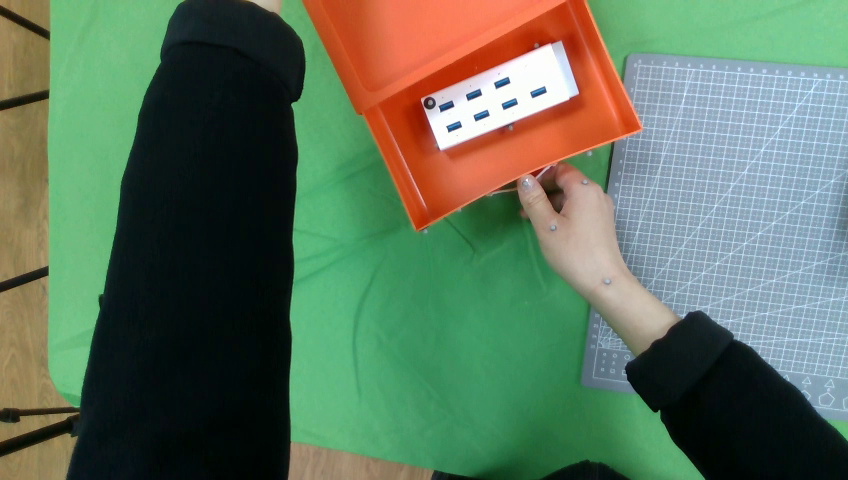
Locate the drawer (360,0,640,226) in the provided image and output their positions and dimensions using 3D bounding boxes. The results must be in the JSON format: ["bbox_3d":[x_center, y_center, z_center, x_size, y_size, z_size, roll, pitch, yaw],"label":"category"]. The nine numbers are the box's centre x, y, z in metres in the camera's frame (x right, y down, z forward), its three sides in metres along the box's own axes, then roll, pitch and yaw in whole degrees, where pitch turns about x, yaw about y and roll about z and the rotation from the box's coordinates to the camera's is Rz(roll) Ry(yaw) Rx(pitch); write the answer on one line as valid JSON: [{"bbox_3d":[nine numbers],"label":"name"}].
[{"bbox_3d":[0.039,-0.146,0.494,0.194,0.073,0.212,-24,96,13],"label":"drawer"}]

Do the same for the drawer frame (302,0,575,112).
[{"bbox_3d":[-0.007,-0.239,0.475,0.201,0.082,0.214,-26,96,12],"label":"drawer frame"}]

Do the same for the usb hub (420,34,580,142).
[{"bbox_3d":[0.062,-0.126,0.505,0.125,0.025,0.050,-17,108,20],"label":"usb hub"}]
